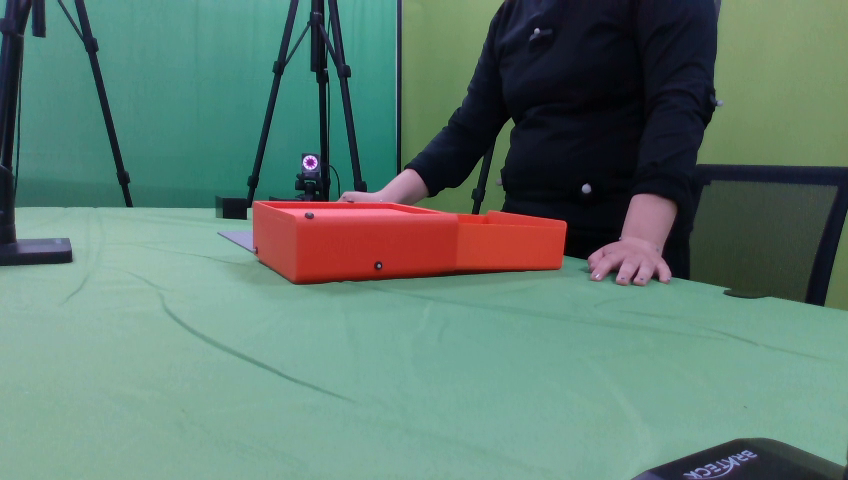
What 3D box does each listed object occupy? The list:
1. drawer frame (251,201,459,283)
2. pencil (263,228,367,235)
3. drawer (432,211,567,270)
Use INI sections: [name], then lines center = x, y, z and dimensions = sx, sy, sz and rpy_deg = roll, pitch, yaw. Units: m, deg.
[drawer frame]
center = -0.095, -0.005, 0.788
dimensions = 0.215, 0.082, 0.200
rpy_deg = -2, 10, -30
[pencil]
center = -0.195, -0.017, 1.110
dimensions = 0.195, 0.012, 0.012
rpy_deg = -1, 8, -26
[drawer]
center = 0.062, -0.005, 0.879
dimensions = 0.213, 0.073, 0.193
rpy_deg = 1, 7, -30
